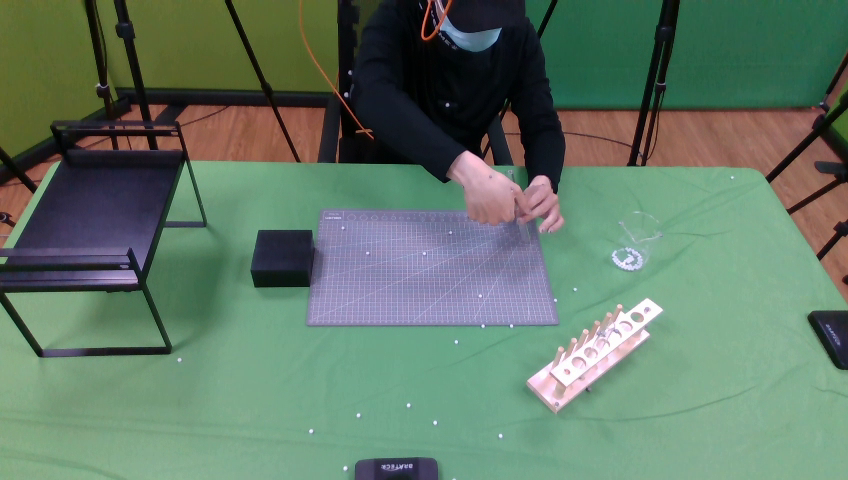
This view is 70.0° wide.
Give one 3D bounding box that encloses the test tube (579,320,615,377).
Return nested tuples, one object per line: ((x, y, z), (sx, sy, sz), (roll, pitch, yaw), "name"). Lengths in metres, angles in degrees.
((0.265, 0.171, 0.942), (0.017, 0.151, 0.017), (4, 49, -4), "test tube")

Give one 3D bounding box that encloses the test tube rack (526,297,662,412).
((0.284, 0.176, 1.007), (0.242, 0.085, 0.066), (-29, 54, -27), "test tube rack")

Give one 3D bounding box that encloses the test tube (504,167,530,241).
((0.175, -0.065, 1.131), (0.017, 0.151, 0.017), (-16, 23, 7), "test tube")

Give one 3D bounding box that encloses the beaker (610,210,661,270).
((0.404, 0.005, 1.170), (0.074, 0.101, 0.083), (19, 49, 15), "beaker")
